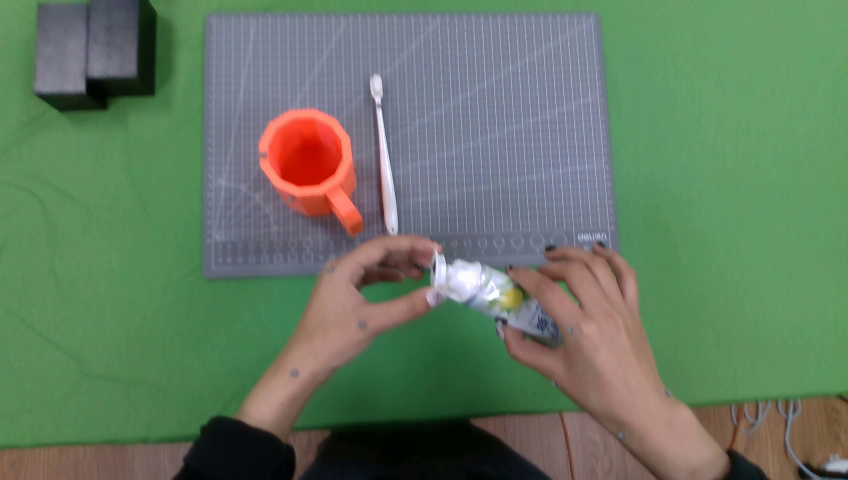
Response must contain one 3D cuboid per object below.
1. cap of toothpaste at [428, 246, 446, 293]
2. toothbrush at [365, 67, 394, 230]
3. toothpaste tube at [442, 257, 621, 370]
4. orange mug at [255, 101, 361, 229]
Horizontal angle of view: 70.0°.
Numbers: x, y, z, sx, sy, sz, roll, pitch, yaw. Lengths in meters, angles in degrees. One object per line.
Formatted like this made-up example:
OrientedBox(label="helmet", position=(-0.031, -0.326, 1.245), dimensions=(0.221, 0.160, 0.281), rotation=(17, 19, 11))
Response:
OrientedBox(label="cap of toothpaste", position=(0.010, 0.023, 0.466), dimensions=(0.011, 0.037, 0.037), rotation=(1, 82, -5))
OrientedBox(label="toothbrush", position=(-0.047, -0.101, 0.659), dimensions=(0.014, 0.016, 0.181), rotation=(-5, 84, -20))
OrientedBox(label="toothpaste tube", position=(0.085, 0.055, 0.489), dimensions=(0.166, 0.034, 0.055), rotation=(23, 92, -16))
OrientedBox(label="orange mug", position=(-0.106, -0.068, 0.609), dimensions=(0.083, 0.101, 0.126), rotation=(-36, 82, -8))
